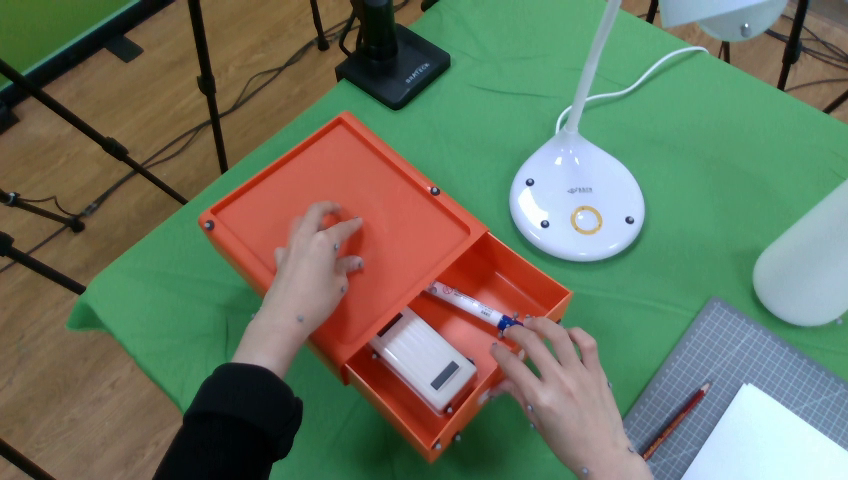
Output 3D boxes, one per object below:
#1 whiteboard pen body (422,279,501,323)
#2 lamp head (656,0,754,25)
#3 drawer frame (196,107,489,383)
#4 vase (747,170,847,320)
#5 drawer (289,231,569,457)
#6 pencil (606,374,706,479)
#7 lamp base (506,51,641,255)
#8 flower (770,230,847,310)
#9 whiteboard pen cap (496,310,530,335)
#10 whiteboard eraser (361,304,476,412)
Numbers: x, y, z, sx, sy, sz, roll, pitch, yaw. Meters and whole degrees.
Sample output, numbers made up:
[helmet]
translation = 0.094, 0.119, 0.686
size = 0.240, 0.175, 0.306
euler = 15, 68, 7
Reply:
[whiteboard pen body]
translation = 0.034, 0.059, 0.612
size = 0.140, 0.017, 0.017
euler = 24, 63, 13
[lamp head]
translation = 0.199, -0.214, 0.397
size = 0.112, 0.112, 0.123
euler = -20, 100, -10
[drawer frame]
translation = -0.080, -0.001, 0.620
size = 0.212, 0.083, 0.201
euler = 42, 70, 18
[vase]
translation = 0.400, 0.001, 0.594
size = 0.098, 0.201, 0.097
euler = -1, 59, 2
[drawer]
translation = -0.004, 0.062, 0.586
size = 0.210, 0.074, 0.194
euler = 39, 68, 22
[pencil]
translation = 0.220, 0.195, 0.594
size = 0.194, 0.012, 0.012
euler = -38, 66, -20
[lamp base]
translation = 0.173, -0.101, 0.667
size = 0.161, 0.182, 0.177
euler = -13, 58, -7
[flower]
translation = 0.415, -0.048, 0.527
size = 0.038, 0.364, 0.044
euler = 25, 45, 7
[whiteboard pen cap]
translation = 0.087, 0.083, 0.595
size = 0.033, 0.018, 0.018
euler = 26, 64, 23
[whiteboard eraser]
translation = -0.008, 0.108, 0.578
size = 0.055, 0.042, 0.111
euler = -41, 61, -19
